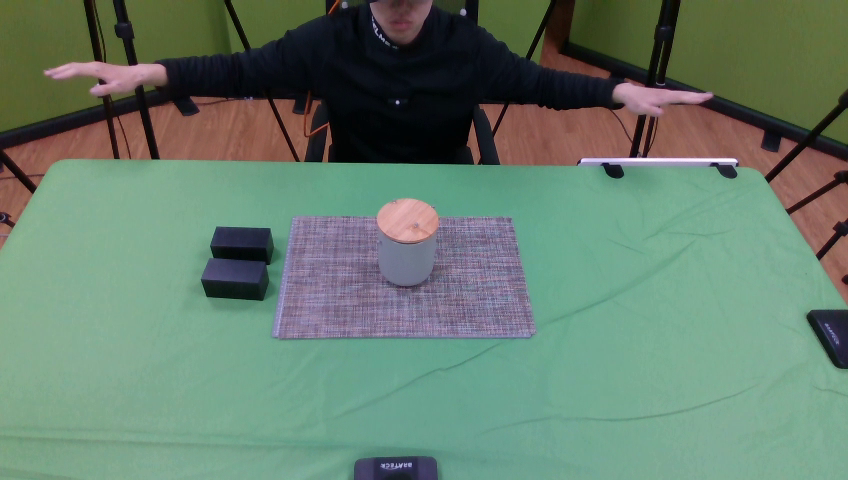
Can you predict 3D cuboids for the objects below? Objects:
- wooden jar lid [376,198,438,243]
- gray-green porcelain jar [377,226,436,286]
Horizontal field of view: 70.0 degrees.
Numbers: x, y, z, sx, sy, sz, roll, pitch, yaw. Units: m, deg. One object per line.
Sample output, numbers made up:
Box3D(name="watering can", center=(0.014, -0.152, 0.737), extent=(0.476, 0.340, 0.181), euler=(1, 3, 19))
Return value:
Box3D(name="wooden jar lid", center=(-0.029, -0.031, 1.059), extent=(0.108, 0.021, 0.107), euler=(2, 45, -2))
Box3D(name="gray-green porcelain jar", center=(-0.033, 0.014, 1.106), extent=(0.106, 0.127, 0.105), euler=(2, 46, -2))
